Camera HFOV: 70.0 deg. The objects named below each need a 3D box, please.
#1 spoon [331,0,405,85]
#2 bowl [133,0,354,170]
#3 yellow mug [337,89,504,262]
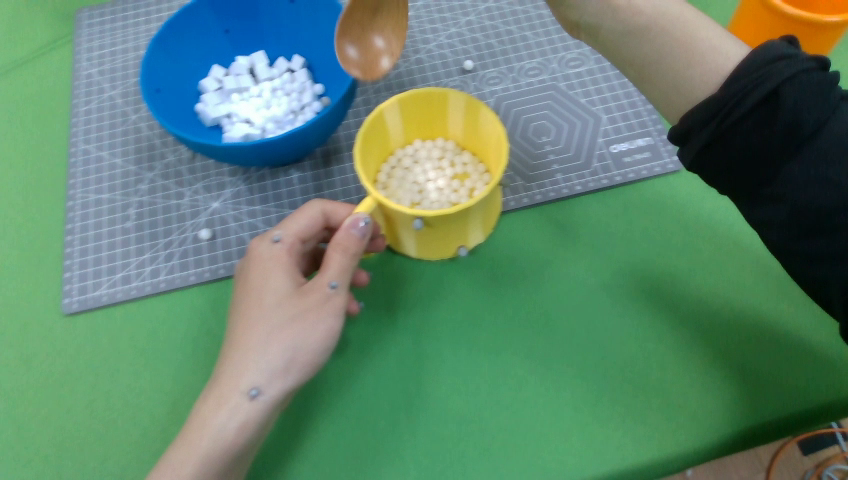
[{"bbox_3d":[-0.004,-0.172,0.322,0.042,0.194,0.021,25,35,-7],"label":"spoon"},{"bbox_3d":[-0.119,-0.104,0.442,0.151,0.077,0.150,-1,63,2],"label":"bowl"},{"bbox_3d":[-0.008,-0.033,0.408,0.099,0.064,0.130,40,72,21],"label":"yellow mug"}]
